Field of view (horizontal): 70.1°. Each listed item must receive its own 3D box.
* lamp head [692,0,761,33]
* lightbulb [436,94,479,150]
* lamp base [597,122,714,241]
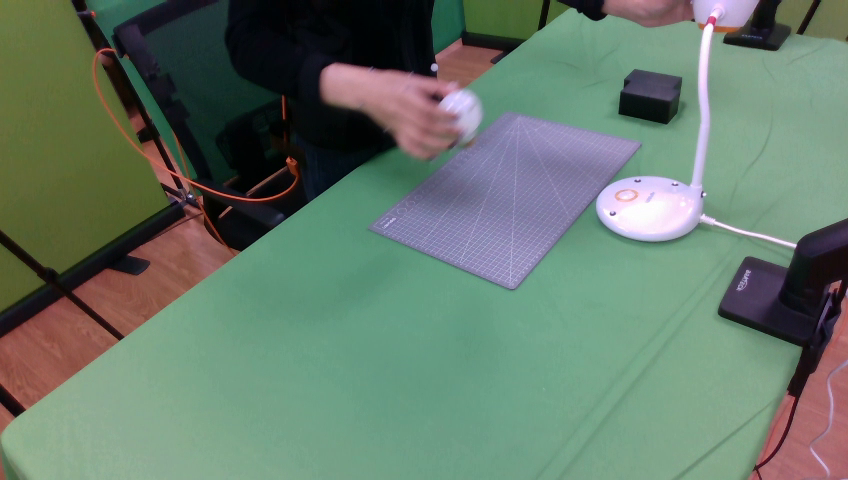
[{"bbox_3d":[0.437,-0.362,0.871,0.112,0.123,0.112,2,27,0],"label":"lamp head"},{"bbox_3d":[0.051,-0.161,0.849,0.059,0.108,0.059,-5,67,13],"label":"lightbulb"},{"bbox_3d":[0.363,-0.109,0.921,0.178,0.181,0.160,13,45,21],"label":"lamp base"}]
